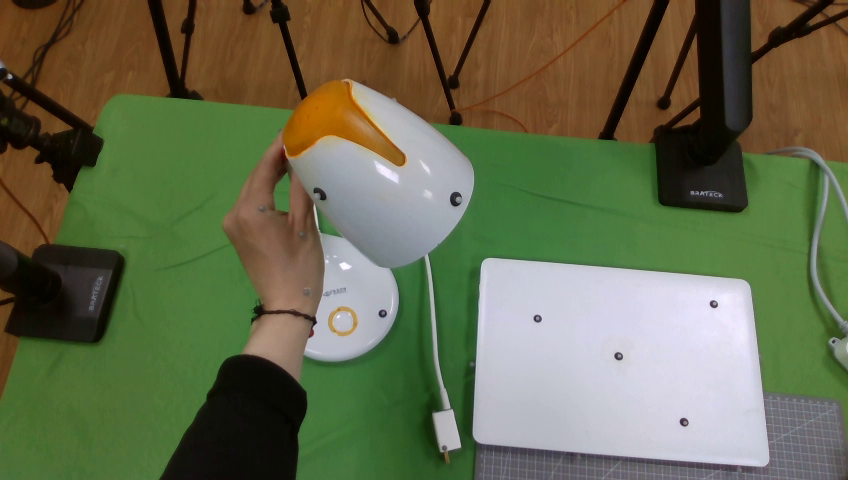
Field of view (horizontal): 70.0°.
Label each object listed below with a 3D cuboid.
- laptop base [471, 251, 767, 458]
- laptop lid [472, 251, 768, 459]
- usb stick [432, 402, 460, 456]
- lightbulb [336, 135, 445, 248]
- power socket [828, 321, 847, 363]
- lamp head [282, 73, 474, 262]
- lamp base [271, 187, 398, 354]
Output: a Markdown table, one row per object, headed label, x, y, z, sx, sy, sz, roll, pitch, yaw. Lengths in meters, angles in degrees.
| label | x | y | z | sx | sy | sz | roll | pitch | yaw |
| --- | --- | --- | --- | --- | --- | --- | --- | --- | --- |
| laptop base | 0.239 | 0.139 | 0.762 | 0.354 | 0.023 | 0.234 | 5 | 71 | 0 |
| laptop lid | 0.239 | 0.136 | 0.750 | 0.357 | 0.013 | 0.240 | 6 | 70 | 1 |
| usb stick | 0.027 | 0.223 | 0.717 | 0.027 | 0.021 | 0.059 | -8 | 78 | -5 |
| lightbulb | -0.027 | -0.038 | 0.452 | 0.059 | 0.109 | 0.059 | -25 | 40 | 23 |
| power socket | 0.610 | 0.187 | 0.746 | 0.072 | 0.033 | 0.225 | -34 | 73 | -14 |
| lamp head | -0.043 | -0.060 | 0.439 | 0.124 | 0.112 | 0.112 | 39 | 65 | -32 |
| lamp base | -0.118 | 0.028 | 0.706 | 0.161 | 0.181 | 0.177 | -24 | 68 | -11 |
